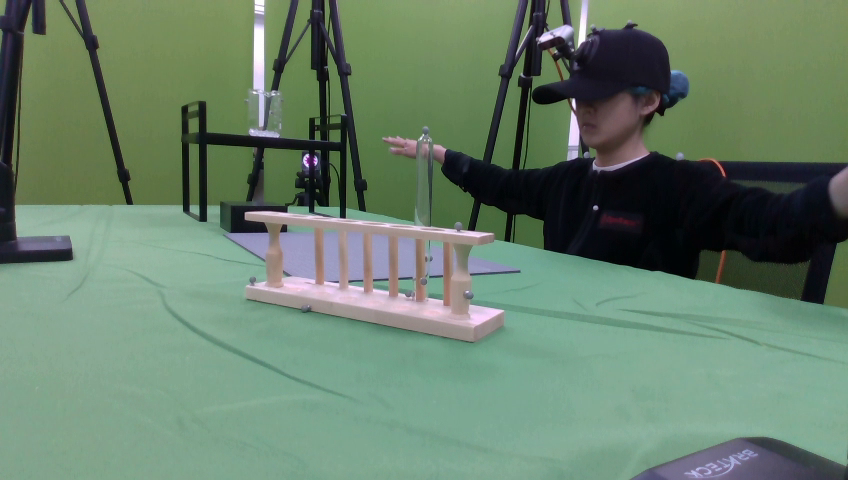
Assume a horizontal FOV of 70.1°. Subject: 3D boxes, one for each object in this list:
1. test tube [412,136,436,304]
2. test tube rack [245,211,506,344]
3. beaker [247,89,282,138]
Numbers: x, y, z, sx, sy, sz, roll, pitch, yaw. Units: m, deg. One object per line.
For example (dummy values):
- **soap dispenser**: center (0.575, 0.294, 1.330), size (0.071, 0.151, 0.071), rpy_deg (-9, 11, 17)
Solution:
- **test tube**: center (0.000, -0.017, 0.537), size (0.017, 0.150, 0.017), rpy_deg (2, 8, 0)
- **test tube rack**: center (-0.049, 0.025, 0.547), size (0.241, 0.085, 0.067), rpy_deg (7, 8, 28)
- **beaker**: center (-0.347, -0.274, 1.320), size (0.074, 0.100, 0.083), rpy_deg (-1, 9, -27)
